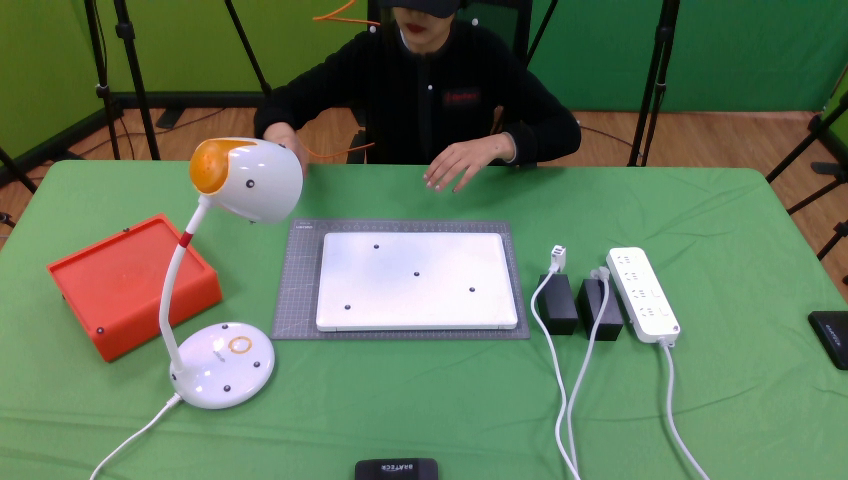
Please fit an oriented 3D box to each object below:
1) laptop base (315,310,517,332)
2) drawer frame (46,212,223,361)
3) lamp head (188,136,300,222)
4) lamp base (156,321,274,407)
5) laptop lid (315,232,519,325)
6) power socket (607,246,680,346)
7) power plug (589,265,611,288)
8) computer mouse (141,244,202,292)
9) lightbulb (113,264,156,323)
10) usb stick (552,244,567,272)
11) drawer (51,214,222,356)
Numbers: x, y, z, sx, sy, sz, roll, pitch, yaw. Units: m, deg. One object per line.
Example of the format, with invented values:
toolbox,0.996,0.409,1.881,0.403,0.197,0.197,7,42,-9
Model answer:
laptop base,-0.016,0.075,1.125,0.355,0.023,0.234,0,42,-4
drawer frame,-0.496,0.073,1.049,0.213,0.083,0.200,-33,56,-29
lamp head,-0.240,-0.081,0.773,0.112,0.112,0.123,35,15,26
lamp base,-0.328,0.151,0.916,0.160,0.181,0.179,29,53,22
laptop lid,-0.015,0.065,1.118,0.357,0.013,0.240,1,43,-3
power socket,0.403,0.096,1.123,0.072,0.033,0.225,-2,46,-5
power plug,0.318,0.073,1.108,0.035,0.053,0.072,26,34,13
computer mouse,-0.460,0.044,1.099,0.116,0.041,0.063,30,52,29
lightbulb,-0.493,0.091,1.045,0.059,0.060,0.107,9,62,5
usb stick,0.251,0.039,1.124,0.021,0.059,0.027,14,47,24
drawer,-0.495,0.072,1.053,0.212,0.073,0.193,-32,57,-29
